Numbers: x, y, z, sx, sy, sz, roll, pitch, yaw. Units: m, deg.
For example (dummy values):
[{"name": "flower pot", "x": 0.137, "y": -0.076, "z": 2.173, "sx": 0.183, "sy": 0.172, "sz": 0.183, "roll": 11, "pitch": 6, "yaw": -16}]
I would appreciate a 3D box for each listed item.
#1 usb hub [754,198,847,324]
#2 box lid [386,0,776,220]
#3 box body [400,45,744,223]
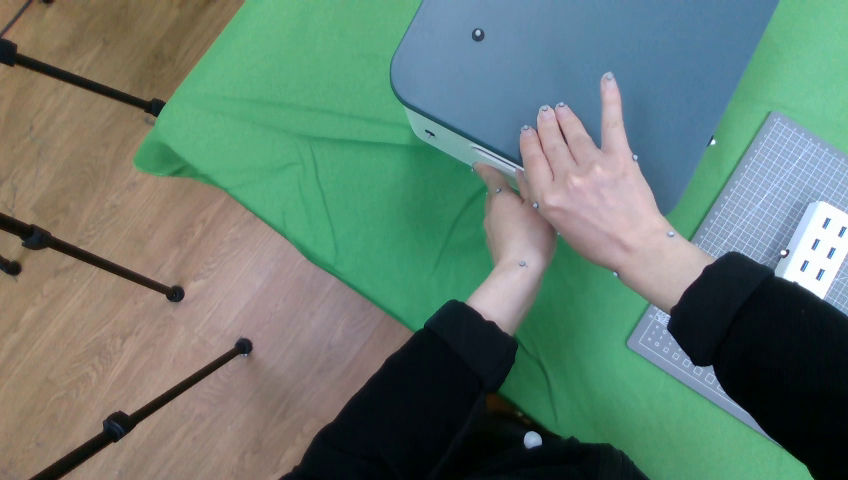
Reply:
[{"name": "usb hub", "x": 0.396, "y": 0.022, "z": 0.628, "sx": 0.049, "sy": 0.025, "sz": 0.125, "roll": 29, "pitch": 88, "yaw": 2}, {"name": "box lid", "x": 0.157, "y": -0.225, "z": 0.504, "sx": 0.263, "sy": 0.015, "sz": 0.371, "roll": 28, "pitch": 87, "yaw": 1}, {"name": "box body", "x": 0.158, "y": -0.222, "z": 0.577, "sx": 0.254, "sy": 0.160, "sz": 0.363, "roll": 27, "pitch": 87, "yaw": 1}]
